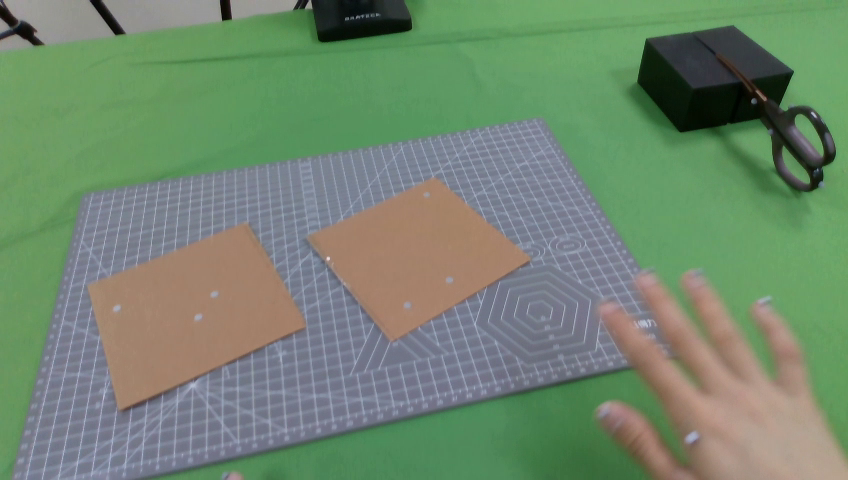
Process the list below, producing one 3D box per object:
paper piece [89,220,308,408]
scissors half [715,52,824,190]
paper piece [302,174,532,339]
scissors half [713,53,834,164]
[{"bbox_3d":[-0.176,0.047,0.464,0.136,0.004,0.134,-23,48,-19],"label":"paper piece"},{"bbox_3d":[0.310,-0.114,0.557,0.013,0.040,0.173,-16,60,-1],"label":"scissors half"},{"bbox_3d":[-0.007,0.005,0.497,0.138,0.009,0.134,-27,54,-23],"label":"paper piece"},{"bbox_3d":[0.305,-0.127,0.542,0.013,0.040,0.173,-20,42,3],"label":"scissors half"}]
